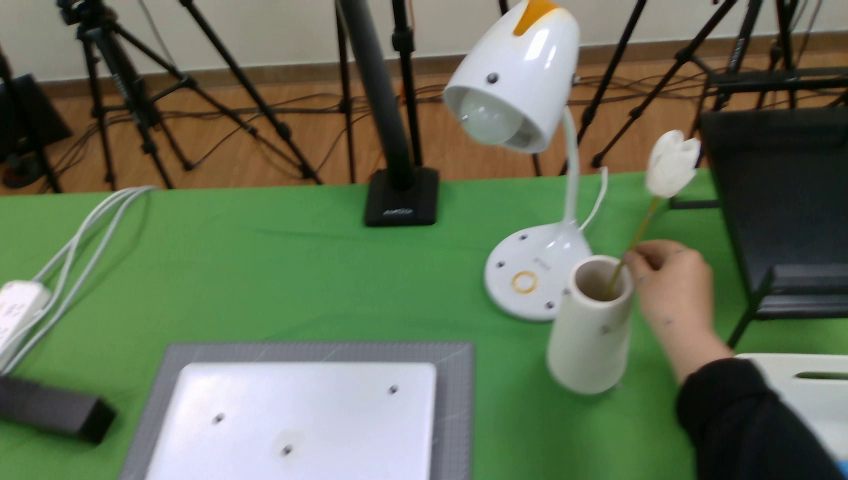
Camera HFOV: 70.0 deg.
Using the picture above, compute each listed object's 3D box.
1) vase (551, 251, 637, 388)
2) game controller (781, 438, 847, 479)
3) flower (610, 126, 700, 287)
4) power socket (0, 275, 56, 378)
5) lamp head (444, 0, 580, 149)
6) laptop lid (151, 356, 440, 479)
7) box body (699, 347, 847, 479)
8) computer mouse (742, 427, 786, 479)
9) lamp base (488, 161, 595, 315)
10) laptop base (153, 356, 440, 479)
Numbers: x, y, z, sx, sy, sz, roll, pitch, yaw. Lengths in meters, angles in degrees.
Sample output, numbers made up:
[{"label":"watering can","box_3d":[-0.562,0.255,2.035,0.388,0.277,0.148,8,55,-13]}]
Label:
[{"label":"vase","box_3d":[0.204,0.098,0.726,0.098,0.202,0.097,-5,51,6]},{"label":"game controller","box_3d":[0.468,0.265,0.650,0.155,0.052,0.096,2,51,8]},{"label":"flower","box_3d":[0.211,0.040,0.665,0.038,0.364,0.043,-2,41,-15]},{"label":"power socket","box_3d":[-0.642,0.147,0.911,0.072,0.033,0.225,6,53,11]},{"label":"lamp head","box_3d":[0.095,-0.161,0.573,0.111,0.113,0.122,25,78,25]},{"label":"laptop lid","box_3d":[-0.161,0.254,0.756,0.356,0.013,0.239,0,55,8]},{"label":"box body","box_3d":[0.422,0.301,0.561,0.254,0.162,0.360,0,52,9]},{"label":"computer mouse","box_3d":[0.361,0.259,0.671,0.063,0.041,0.116,-3,43,9]},{"label":"lamp base","box_3d":[0.172,-0.015,0.830,0.159,0.182,0.179,29,59,26]},{"label":"laptop base","box_3d":[-0.160,0.259,0.767,0.354,0.023,0.233,-1,56,7]}]
